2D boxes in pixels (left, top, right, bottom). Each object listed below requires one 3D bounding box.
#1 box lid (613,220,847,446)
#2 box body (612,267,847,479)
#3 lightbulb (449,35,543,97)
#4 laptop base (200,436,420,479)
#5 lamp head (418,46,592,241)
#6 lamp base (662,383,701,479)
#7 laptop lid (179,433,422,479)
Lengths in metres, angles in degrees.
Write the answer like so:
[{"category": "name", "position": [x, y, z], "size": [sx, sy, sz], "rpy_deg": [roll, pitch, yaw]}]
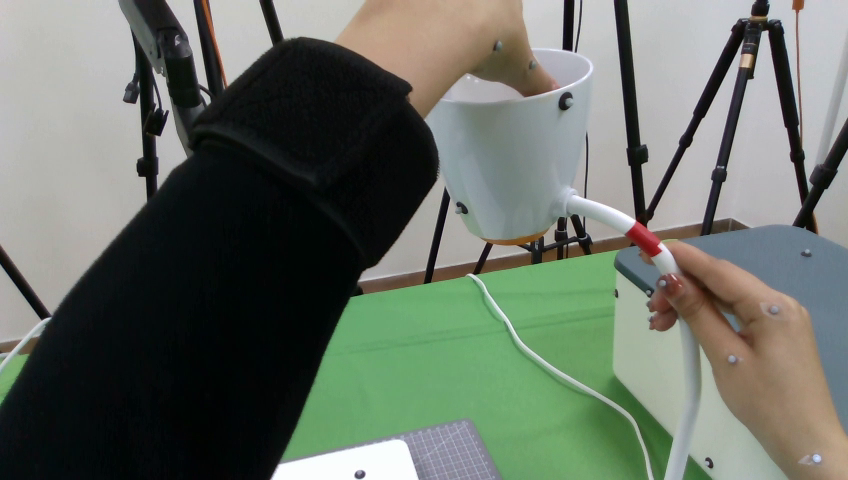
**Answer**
[{"category": "box lid", "position": [0.379, 0.067, 0.565], "size": [0.264, 0.015, 0.367], "rpy_deg": [-8, 26, -15]}, {"category": "box body", "position": [0.382, 0.136, 0.595], "size": [0.255, 0.161, 0.360], "rpy_deg": [-9, 26, -15]}, {"category": "lightbulb", "position": [0.049, -0.080, 0.399], "size": [0.059, 0.109, 0.059], "rpy_deg": [-8, 36, 6]}, {"category": "laptop base", "position": [-0.159, 0.283, 0.494], "size": [0.355, 0.023, 0.233], "rpy_deg": [-8, 29, -13]}, {"category": "lamp head", "position": [0.061, -0.060, 0.413], "size": [0.112, 0.124, 0.111], "rpy_deg": [-10, 27, 6]}, {"category": "lamp base", "position": [0.170, 0.205, 0.440], "size": [0.160, 0.181, 0.179], "rpy_deg": [9, 25, 20]}, {"category": "laptop lid", "position": [-0.159, 0.273, 0.487], "size": [0.357, 0.013, 0.239], "rpy_deg": [-8, 28, -11]}]
